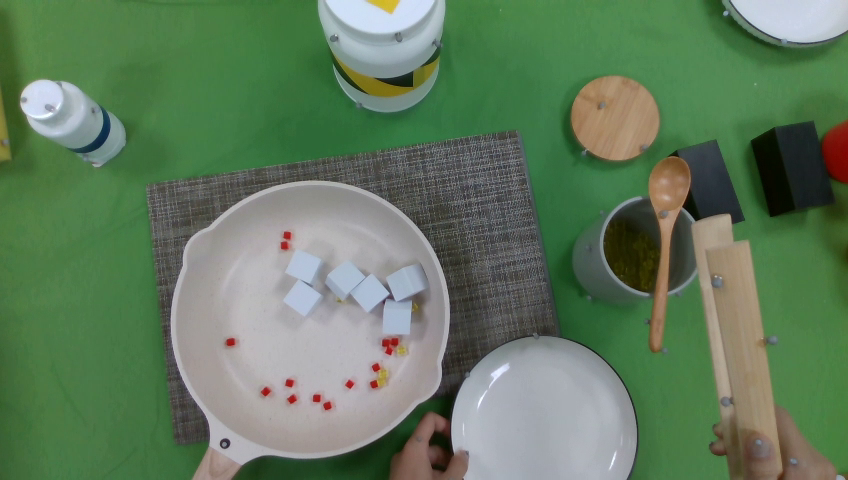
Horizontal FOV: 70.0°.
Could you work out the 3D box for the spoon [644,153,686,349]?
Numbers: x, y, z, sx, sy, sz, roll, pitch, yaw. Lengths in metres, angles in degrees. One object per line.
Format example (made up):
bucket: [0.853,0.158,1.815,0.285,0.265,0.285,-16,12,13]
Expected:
spoon: [0.233,0.011,0.600,0.042,0.021,0.193,7,85,-5]

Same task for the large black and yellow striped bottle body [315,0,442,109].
large black and yellow striped bottle body: [-0.047,-0.236,0.664,0.131,0.184,0.130,0,81,-2]

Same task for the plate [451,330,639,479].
plate: [0.132,0.205,0.676,0.208,0.039,0.207,1,80,-3]

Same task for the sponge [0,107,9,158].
sponge: [-0.571,-0.188,0.695,0.118,0.061,0.206,-14,84,-5]

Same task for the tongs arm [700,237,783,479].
tongs arm: [0.244,0.161,0.448,0.026,0.050,0.387,-17,111,10]

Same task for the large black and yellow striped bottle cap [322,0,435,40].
large black and yellow striped bottle cap: [-0.044,-0.250,0.581,0.115,0.019,0.114,0,84,-2]

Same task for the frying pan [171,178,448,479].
frying pan: [-0.173,0.165,0.639,0.306,0.103,0.486,31,74,3]

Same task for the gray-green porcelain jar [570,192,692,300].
gray-green porcelain jar: [0.224,0.012,0.669,0.106,0.127,0.105,0,82,-2]

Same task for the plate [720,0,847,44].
plate: [0.463,-0.345,0.772,0.209,0.038,0.208,0,82,-2]

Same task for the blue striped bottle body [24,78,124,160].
blue striped bottle body: [-0.387,-0.135,0.666,0.063,0.121,0.063,0,81,-2]

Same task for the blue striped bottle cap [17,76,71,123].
blue striped bottle cap: [-0.386,-0.143,0.616,0.044,0.020,0.044,0,84,-2]

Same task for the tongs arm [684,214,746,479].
tongs arm: [0.245,0.150,0.469,0.028,0.028,0.391,-19,115,7]

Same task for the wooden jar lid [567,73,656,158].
wooden jar lid: [0.229,-0.152,0.746,0.108,0.021,0.108,0,84,-2]
